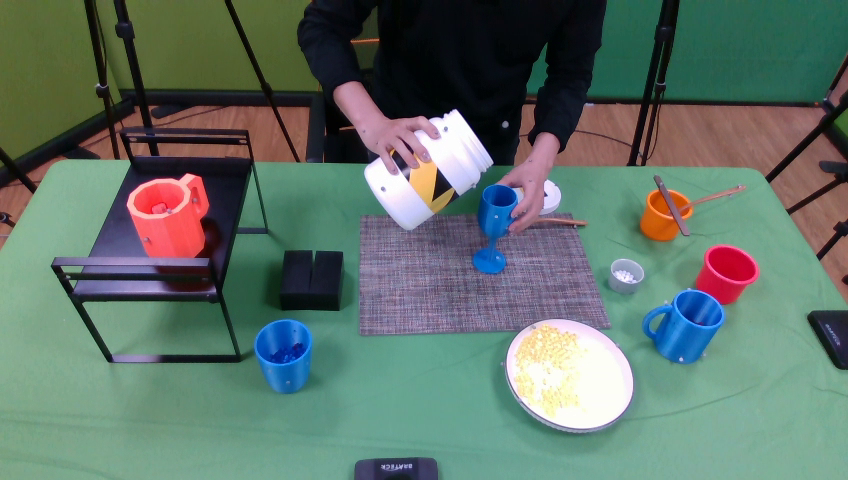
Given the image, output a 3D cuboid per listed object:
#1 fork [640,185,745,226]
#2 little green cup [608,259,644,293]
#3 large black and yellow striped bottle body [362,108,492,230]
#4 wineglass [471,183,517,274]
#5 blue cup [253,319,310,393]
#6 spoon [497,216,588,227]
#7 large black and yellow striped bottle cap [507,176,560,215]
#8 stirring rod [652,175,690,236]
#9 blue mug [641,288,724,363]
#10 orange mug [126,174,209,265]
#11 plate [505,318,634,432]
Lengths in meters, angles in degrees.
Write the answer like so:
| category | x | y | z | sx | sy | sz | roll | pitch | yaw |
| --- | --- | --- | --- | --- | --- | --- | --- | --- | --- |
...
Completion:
| category | x | y | z | sx | sy | sz | roll | pitch | yaw |
| --- | --- | --- | --- | --- | --- | --- | --- | --- | --- |
| fork | 0.534 | -0.069 | 1.215 | 0.207 | 0.019 | 0.028 | -26 | 27 | 33 |
| little green cup | 0.379 | 0.070 | 1.147 | 0.061 | 0.039 | 0.061 | 3 | 45 | -3 |
| large black and yellow striped bottle body | 0.007 | -0.118 | 0.990 | 0.184 | 0.131 | 0.130 | -36 | 51 | 7 |
| wineglass | 0.126 | -0.019 | 1.113 | 0.074 | 0.173 | 0.073 | 2 | 46 | -2 |
| blue cup | -0.217 | 0.187 | 0.943 | 0.093 | 0.101 | 0.092 | 3 | 45 | -3 |
| spoon | 0.245 | -0.039 | 1.247 | 0.194 | 0.022 | 0.041 | -1 | 26 | -6 |
| large black and yellow striped bottle cap | 0.237 | -0.098 | 1.312 | 0.115 | 0.019 | 0.114 | 2 | 43 | -1 |
| stirring rod | 0.492 | -0.072 | 1.211 | 0.014 | 0.006 | 0.175 | -1 | 46 | -6 |
| blue mug | 0.432 | 0.144 | 1.033 | 0.116 | 0.106 | 0.082 | 8 | 46 | 5 |
| orange mug | -0.371 | -0.039 | 0.902 | 0.083 | 0.101 | 0.126 | 18 | 51 | 14 |
| plate | 0.235 | 0.221 | 0.991 | 0.209 | 0.038 | 0.208 | 2 | 45 | -2 |
